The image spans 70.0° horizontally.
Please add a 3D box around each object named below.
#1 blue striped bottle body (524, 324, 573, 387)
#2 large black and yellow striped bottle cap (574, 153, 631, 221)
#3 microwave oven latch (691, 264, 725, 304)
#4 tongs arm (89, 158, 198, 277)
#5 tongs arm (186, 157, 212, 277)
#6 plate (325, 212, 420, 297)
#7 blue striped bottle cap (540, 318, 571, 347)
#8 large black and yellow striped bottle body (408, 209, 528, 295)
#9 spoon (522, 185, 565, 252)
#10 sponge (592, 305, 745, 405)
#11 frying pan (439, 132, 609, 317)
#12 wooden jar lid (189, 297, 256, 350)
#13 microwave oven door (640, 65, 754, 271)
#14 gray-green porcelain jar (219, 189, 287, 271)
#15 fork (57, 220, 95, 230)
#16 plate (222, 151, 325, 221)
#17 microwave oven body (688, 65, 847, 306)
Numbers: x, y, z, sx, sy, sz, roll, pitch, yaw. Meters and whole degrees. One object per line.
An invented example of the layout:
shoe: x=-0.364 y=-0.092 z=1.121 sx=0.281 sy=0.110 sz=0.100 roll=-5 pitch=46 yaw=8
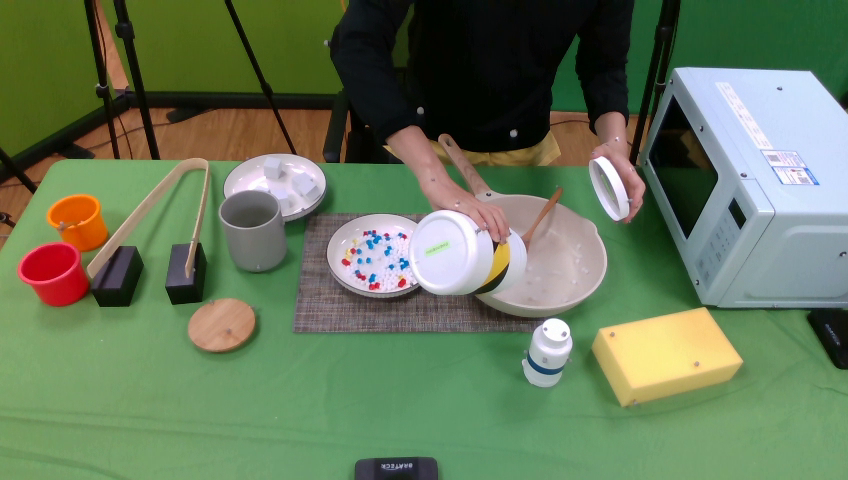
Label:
blue striped bottle body: x=0.200 y=0.178 z=0.970 sx=0.063 sy=0.121 sz=0.062 roll=2 pitch=46 yaw=-2
large black and yellow striped bottle cap: x=0.299 y=-0.090 z=1.022 sx=0.019 sy=0.115 sz=0.114 roll=-7 pitch=46 yaw=-28
microwave oven latch: x=0.521 y=0.081 z=1.116 sx=0.030 sy=0.029 sz=0.078 roll=0 pitch=46 yaw=-3
tongs arm: x=-0.529 y=-0.058 z=1.163 sx=0.028 sy=0.028 sz=0.385 roll=1 pitch=36 yaw=7
tongs arm: x=-0.445 y=-0.058 z=1.168 sx=0.051 sy=0.026 sz=0.382 roll=-4 pitch=37 yaw=-6
plate: x=-0.080 y=0.030 z=1.143 sx=0.209 sy=0.038 sz=0.208 roll=3 pitch=46 yaw=-2
blue striped bottle cap: x=0.203 y=0.142 z=0.933 sx=0.044 sy=0.021 sz=0.044 roll=4 pitch=49 yaw=-4
large black and yellow striped bottle body: x=0.077 y=0.024 z=0.980 sx=0.185 sy=0.131 sz=0.130 roll=7 pitch=32 yaw=-52
spoon: x=0.224 y=-0.034 z=1.192 sx=0.041 sy=0.022 sz=0.193 roll=30 pitch=80 yaw=35
sponge: x=0.405 y=0.190 z=1.014 sx=0.207 sy=0.061 sz=0.117 roll=-10 pitch=48 yaw=-13
frying pan: x=0.149 y=-0.049 z=1.190 sx=0.307 sy=0.103 sz=0.484 roll=-17 pitch=58 yaw=-20
wooden jar lid: x=-0.342 y=0.145 z=1.033 sx=0.108 sy=0.021 sz=0.107 roll=2 pitch=45 yaw=-2
microwave oven door: x=0.524 y=-0.148 z=1.193 sx=0.039 sy=0.245 sz=0.353 roll=0 pitch=47 yaw=-3
gray-green porcelain jar: x=-0.310 y=-0.014 z=1.113 sx=0.106 sy=0.127 sz=0.105 roll=2 pitch=46 yaw=-2
fork: x=-0.624 y=-0.027 z=1.087 sx=0.028 sy=0.207 sz=0.018 roll=-3 pitch=92 yaw=-17
plate: x=-0.310 y=-0.106 z=1.262 sx=0.208 sy=0.039 sz=0.206 roll=2 pitch=47 yaw=-2
microwave oven body: x=0.669 y=-0.111 z=1.176 sx=0.326 sy=0.261 sz=0.439 roll=0 pitch=46 yaw=-3
